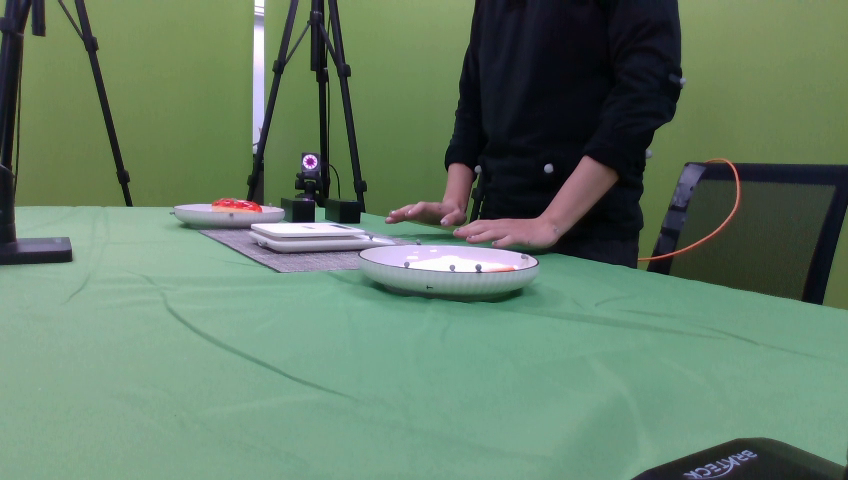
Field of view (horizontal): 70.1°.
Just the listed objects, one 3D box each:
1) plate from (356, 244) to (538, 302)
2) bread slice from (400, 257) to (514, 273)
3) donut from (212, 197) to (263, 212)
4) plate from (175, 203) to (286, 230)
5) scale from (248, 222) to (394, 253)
[{"bbox_3d":[0.025,0.036,0.693,0.209,0.038,0.209,3,7,0],"label":"plate"},{"bbox_3d":[0.029,0.038,0.689,0.104,0.019,0.132,8,10,37],"label":"bread slice"},{"bbox_3d":[-0.376,-0.061,1.220,0.099,0.048,0.099,5,4,0],"label":"donut"},{"bbox_3d":[-0.380,-0.047,1.199,0.208,0.039,0.207,2,7,0],"label":"plate"},{"bbox_3d":[-0.162,-0.006,0.954,0.202,0.031,0.148,-1,9,-32],"label":"scale"}]
